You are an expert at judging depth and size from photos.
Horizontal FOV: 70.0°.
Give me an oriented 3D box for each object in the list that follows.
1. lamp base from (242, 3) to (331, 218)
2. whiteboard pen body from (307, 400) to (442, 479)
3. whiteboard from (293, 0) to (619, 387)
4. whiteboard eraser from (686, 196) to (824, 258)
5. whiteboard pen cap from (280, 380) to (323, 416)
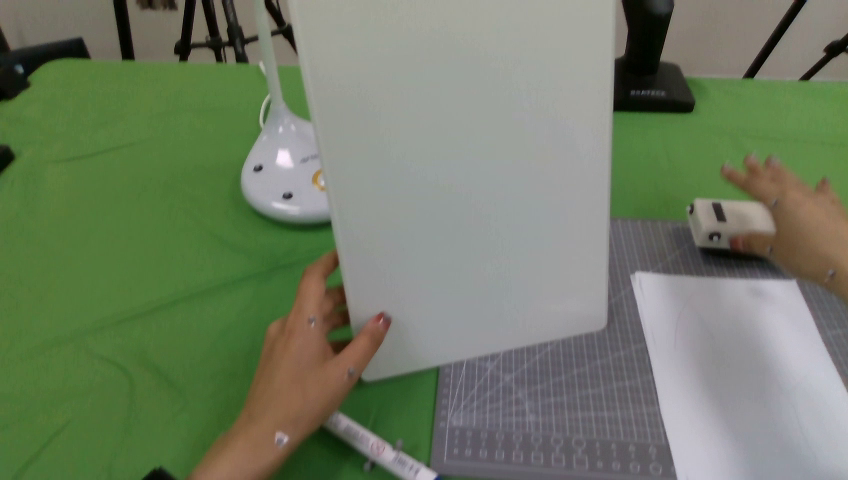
[{"bbox_3d":[-0.131,-0.141,0.632,0.160,0.182,0.177,-33,50,-29],"label":"lamp base"},{"bbox_3d":[-0.047,0.146,0.447,0.140,0.017,0.017,24,49,25],"label":"whiteboard pen body"},{"bbox_3d":[0.026,-0.066,0.502,0.217,0.307,0.142,-10,25,-9],"label":"whiteboard"},{"bbox_3d":[0.318,-0.012,0.588,0.112,0.042,0.055,5,46,6],"label":"whiteboard eraser"},{"bbox_3d":[-0.095,0.123,0.472,0.033,0.018,0.018,24,49,27],"label":"whiteboard pen cap"}]
